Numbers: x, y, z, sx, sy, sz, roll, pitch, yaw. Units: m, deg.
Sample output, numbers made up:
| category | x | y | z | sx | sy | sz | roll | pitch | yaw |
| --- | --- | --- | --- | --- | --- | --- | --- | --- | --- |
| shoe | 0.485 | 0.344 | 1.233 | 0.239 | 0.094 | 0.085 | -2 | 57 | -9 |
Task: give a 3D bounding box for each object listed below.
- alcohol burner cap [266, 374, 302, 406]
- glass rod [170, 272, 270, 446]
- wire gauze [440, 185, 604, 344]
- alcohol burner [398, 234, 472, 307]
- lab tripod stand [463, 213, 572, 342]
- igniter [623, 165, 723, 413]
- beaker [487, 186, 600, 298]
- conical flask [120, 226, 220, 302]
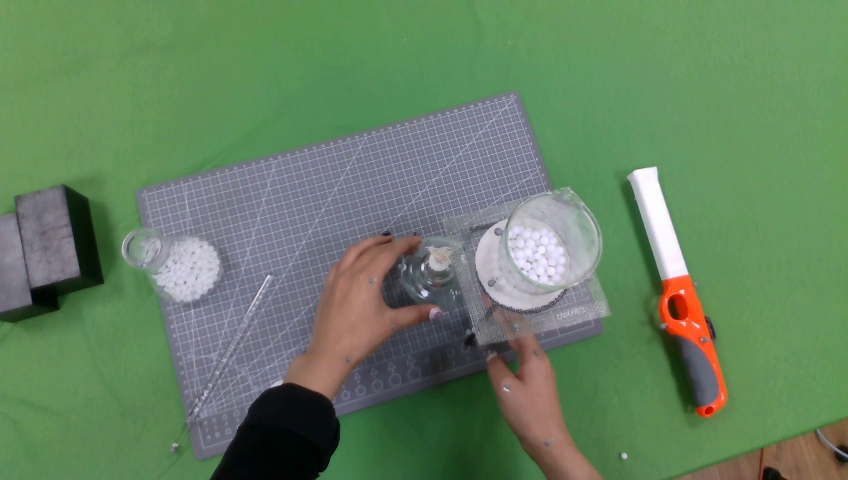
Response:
| category | x | y | z | sx | sy | sz | roll | pitch | yaw |
| --- | --- | --- | --- | --- | --- | --- | --- | --- | --- |
| alcohol burner cap | -0.144 | 0.153 | 0.616 | 0.034 | 0.048 | 0.033 | 1 | 78 | -3 |
| glass rod | -0.212 | 0.121 | 0.636 | 0.008 | 0.008 | 0.199 | 26 | 78 | 3 |
| wire gauze | 0.089 | 0.021 | 0.542 | 0.125 | 0.011 | 0.121 | -13 | 82 | -7 |
| alcohol burner | 0.012 | 0.028 | 0.614 | 0.078 | 0.119 | 0.077 | 0 | 78 | 0 |
| lab tripod stand | 0.085 | 0.037 | 0.606 | 0.148 | 0.132 | 0.148 | 1 | 80 | -3 |
| igniter | 0.275 | 0.049 | 0.671 | 0.057 | 0.025 | 0.275 | -10 | 79 | -16 |
| beaker | 0.093 | 0.006 | 0.496 | 0.074 | 0.100 | 0.083 | 19 | 78 | 1 |
| conical flask | -0.254 | 0.018 | 0.597 | 0.075 | 0.122 | 0.075 | 1 | 77 | -2 |
